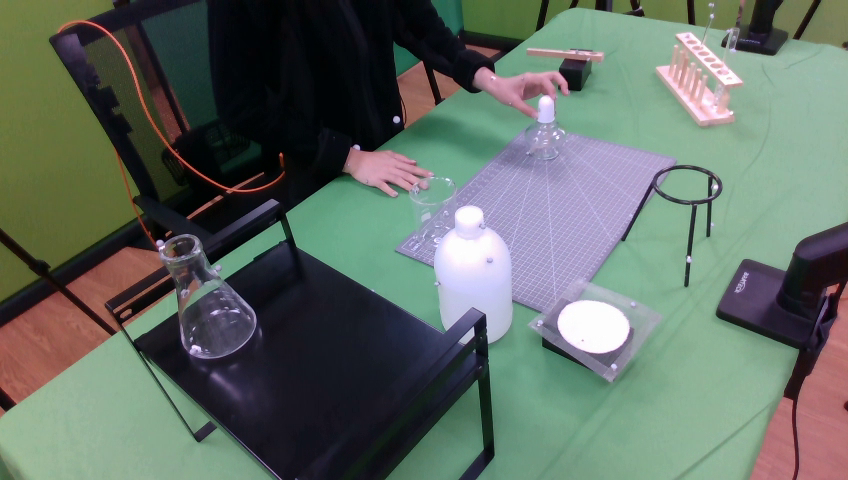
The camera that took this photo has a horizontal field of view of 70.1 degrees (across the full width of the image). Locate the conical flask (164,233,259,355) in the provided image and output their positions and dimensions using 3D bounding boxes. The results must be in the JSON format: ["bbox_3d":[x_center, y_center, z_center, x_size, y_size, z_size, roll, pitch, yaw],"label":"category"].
[{"bbox_3d":[-0.216,0.051,0.601,0.075,0.122,0.075,-4,40,4],"label":"conical flask"}]

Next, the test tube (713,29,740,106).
[{"bbox_3d":[0.572,-0.325,1.147,0.017,0.151,0.017,-3,38,2],"label":"test tube"}]

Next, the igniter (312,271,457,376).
[{"bbox_3d":[-0.068,0.111,0.859,0.274,0.025,0.057,27,61,34],"label":"igniter"}]

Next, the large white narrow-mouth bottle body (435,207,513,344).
[{"bbox_3d":[0.065,0.041,0.791,0.102,0.195,0.101,-4,41,4],"label":"large white narrow-mouth bottle body"}]

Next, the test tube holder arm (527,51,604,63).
[{"bbox_3d":[0.311,-0.408,1.344,0.177,0.015,0.013,14,38,30],"label":"test tube holder arm"}]

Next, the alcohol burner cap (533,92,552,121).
[{"bbox_3d":[0.213,-0.243,1.087,0.034,0.048,0.033,-4,36,4],"label":"alcohol burner cap"}]

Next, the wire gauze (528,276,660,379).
[{"bbox_3d":[0.214,0.103,0.763,0.124,0.011,0.122,30,52,35],"label":"wire gauze"}]

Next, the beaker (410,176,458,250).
[{"bbox_3d":[0.022,-0.041,0.964,0.073,0.101,0.084,28,51,35],"label":"beaker"}]

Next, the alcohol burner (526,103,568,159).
[{"bbox_3d":[0.228,-0.210,1.118,0.078,0.119,0.077,-5,43,5],"label":"alcohol burner"}]

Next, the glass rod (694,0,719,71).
[{"bbox_3d":[0.561,-0.402,1.214,0.008,0.200,0.008,-1,49,2],"label":"glass rod"}]

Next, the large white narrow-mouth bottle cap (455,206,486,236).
[{"bbox_3d":[0.057,-0.023,0.734,0.038,0.024,0.037,-4,40,4],"label":"large white narrow-mouth bottle cap"}]

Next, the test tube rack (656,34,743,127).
[{"bbox_3d":[0.553,-0.330,1.233,0.067,0.085,0.241,-7,40,2],"label":"test tube rack"}]

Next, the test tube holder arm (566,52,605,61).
[{"bbox_3d":[0.352,-0.401,1.325,0.087,0.015,0.010,15,38,30],"label":"test tube holder arm"}]

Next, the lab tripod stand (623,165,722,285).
[{"bbox_3d":[0.365,-0.030,0.875,0.148,0.132,0.147,-6,41,6],"label":"lab tripod stand"}]
